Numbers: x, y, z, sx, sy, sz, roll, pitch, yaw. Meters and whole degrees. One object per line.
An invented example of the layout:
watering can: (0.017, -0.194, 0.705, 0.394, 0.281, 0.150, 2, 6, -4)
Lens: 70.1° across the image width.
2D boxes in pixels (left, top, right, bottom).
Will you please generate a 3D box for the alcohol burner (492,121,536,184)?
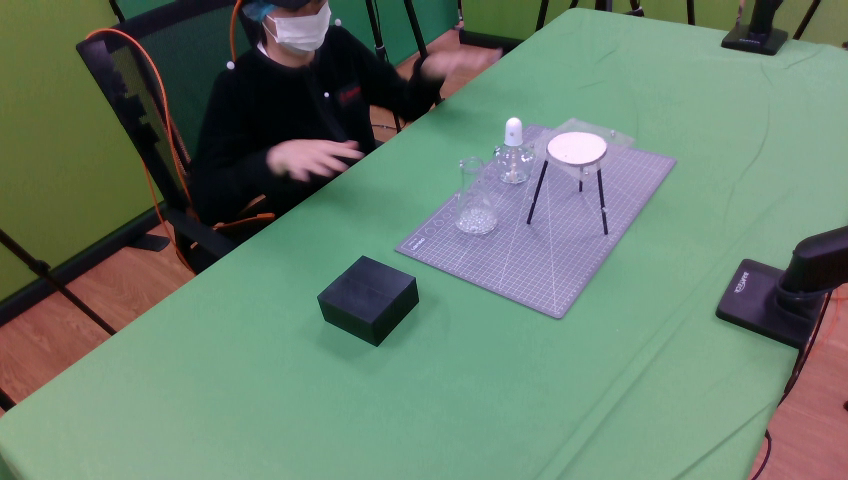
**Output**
alcohol burner: (0.159, -0.158, 1.064, 0.078, 0.119, 0.077, -3, 41, 3)

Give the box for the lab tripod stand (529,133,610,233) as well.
lab tripod stand: (0.236, -0.089, 0.953, 0.148, 0.132, 0.147, -5, 42, 5)

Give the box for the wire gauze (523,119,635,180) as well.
wire gauze: (0.233, -0.143, 0.913, 0.122, 0.011, 0.124, -32, 45, -25)

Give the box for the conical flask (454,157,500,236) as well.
conical flask: (0.081, -0.072, 0.966, 0.075, 0.122, 0.075, -5, 40, 4)

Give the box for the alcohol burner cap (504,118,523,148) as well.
alcohol burner cap: (0.154, -0.186, 1.042, 0.034, 0.048, 0.033, -4, 33, 3)
